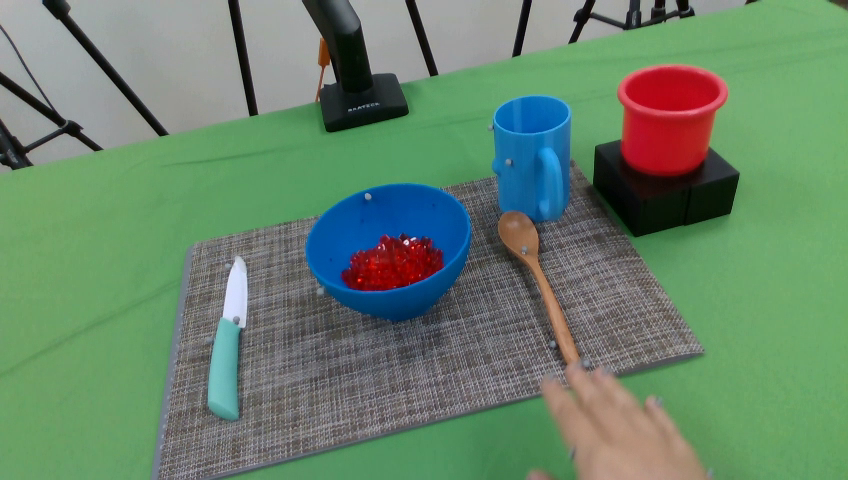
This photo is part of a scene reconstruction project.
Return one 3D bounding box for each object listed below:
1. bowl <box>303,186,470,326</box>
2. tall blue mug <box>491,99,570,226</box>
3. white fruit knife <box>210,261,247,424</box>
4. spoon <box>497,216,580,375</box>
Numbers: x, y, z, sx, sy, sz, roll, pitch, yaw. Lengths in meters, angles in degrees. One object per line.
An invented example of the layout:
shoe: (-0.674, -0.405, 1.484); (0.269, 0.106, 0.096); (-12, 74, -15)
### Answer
bowl: (-0.028, 0.026, 0.563); (0.151, 0.077, 0.150); (-6, 41, 6)
tall blue mug: (0.121, -0.073, 0.620); (0.078, 0.109, 0.106); (-32, 45, -24)
white fruit knife: (-0.184, 0.086, 0.577); (0.027, 0.016, 0.205); (11, 34, -21)
spoon: (0.106, 0.043, 0.558); (0.042, 0.022, 0.191); (1, 39, -13)
